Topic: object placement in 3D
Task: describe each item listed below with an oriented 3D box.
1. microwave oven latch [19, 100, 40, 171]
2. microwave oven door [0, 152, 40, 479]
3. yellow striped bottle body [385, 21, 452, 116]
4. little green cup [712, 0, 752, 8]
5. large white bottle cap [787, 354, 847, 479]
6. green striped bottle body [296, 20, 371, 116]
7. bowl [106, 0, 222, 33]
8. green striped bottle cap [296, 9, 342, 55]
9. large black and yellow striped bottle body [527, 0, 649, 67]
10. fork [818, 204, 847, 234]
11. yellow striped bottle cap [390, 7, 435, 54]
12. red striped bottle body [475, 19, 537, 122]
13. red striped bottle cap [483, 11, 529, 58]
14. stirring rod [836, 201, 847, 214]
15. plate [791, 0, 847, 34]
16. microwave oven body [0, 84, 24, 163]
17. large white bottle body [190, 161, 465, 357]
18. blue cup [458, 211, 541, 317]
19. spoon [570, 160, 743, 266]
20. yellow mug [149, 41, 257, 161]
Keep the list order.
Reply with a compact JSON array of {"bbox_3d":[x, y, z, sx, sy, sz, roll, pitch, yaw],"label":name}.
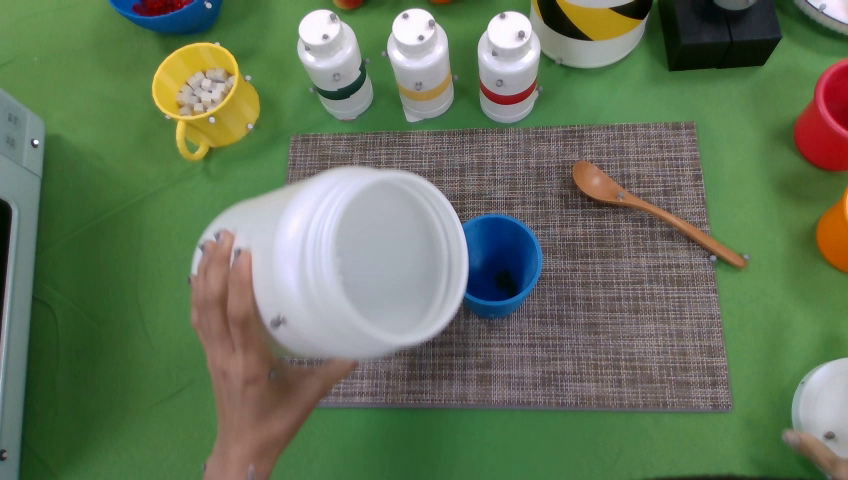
[{"bbox_3d":[-0.465,-0.119,0.698,0.030,0.030,0.078,-8,71,3],"label":"microwave oven latch"},{"bbox_3d":[-0.447,0.053,0.530,0.039,0.245,0.353,-10,70,4],"label":"microwave oven door"},{"bbox_3d":[-0.005,-0.190,0.648,0.063,0.121,0.062,-2,70,7],"label":"yellow striped bottle body"},{"bbox_3d":[0.326,-0.275,0.630,0.061,0.039,0.061,-2,70,4],"label":"little green cup"},{"bbox_3d":[0.388,0.158,0.540,0.115,0.018,0.114,-2,70,6],"label":"large white bottle cap"},{"bbox_3d":[-0.099,-0.192,0.659,0.063,0.120,0.063,-2,70,6],"label":"green striped bottle body"},{"bbox_3d":[-0.305,-0.310,0.744,0.151,0.077,0.150,-2,71,5],"label":"bowl"},{"bbox_3d":[-0.106,-0.210,0.610,0.044,0.020,0.044,-2,70,5],"label":"green striped bottle cap"},{"bbox_3d":[0.175,-0.285,0.626,0.130,0.185,0.130,-2,71,6],"label":"large black and yellow striped bottle body"},{"bbox_3d":[0.438,0.005,0.516,0.028,0.019,0.205,-28,26,-12],"label":"fork"},{"bbox_3d":[-0.011,-0.207,0.599,0.044,0.019,0.044,-2,72,5],"label":"yellow striped bottle cap"},{"bbox_3d":[0.087,-0.181,0.635,0.063,0.120,0.062,-3,69,9],"label":"red striped bottle body"},{"bbox_3d":[0.080,-0.199,0.586,0.044,0.018,0.044,-1,70,2],"label":"red striped bottle cap"},{"bbox_3d":[0.409,0.003,0.528,0.014,0.006,0.175,2,28,4],"label":"stirring rod"},{"bbox_3d":[0.497,-0.309,0.677,0.209,0.038,0.207,-2,72,6],"label":"plate"},{"bbox_3d":[-0.596,0.039,0.556,0.326,0.262,0.438,-10,71,3],"label":"microwave oven body"},{"bbox_3d":[-0.072,0.017,0.434,0.184,0.132,0.130,-9,63,48],"label":"large white bottle body"},{"bbox_3d":[0.063,0.031,0.571,0.092,0.101,0.092,-2,70,5],"label":"blue cup"},{"bbox_3d":[0.233,-0.027,0.614,0.193,0.022,0.041,31,52,15],"label":"spoon"},{"bbox_3d":[-0.255,-0.153,0.691,0.100,0.064,0.130,9,73,8],"label":"yellow mug"}]
